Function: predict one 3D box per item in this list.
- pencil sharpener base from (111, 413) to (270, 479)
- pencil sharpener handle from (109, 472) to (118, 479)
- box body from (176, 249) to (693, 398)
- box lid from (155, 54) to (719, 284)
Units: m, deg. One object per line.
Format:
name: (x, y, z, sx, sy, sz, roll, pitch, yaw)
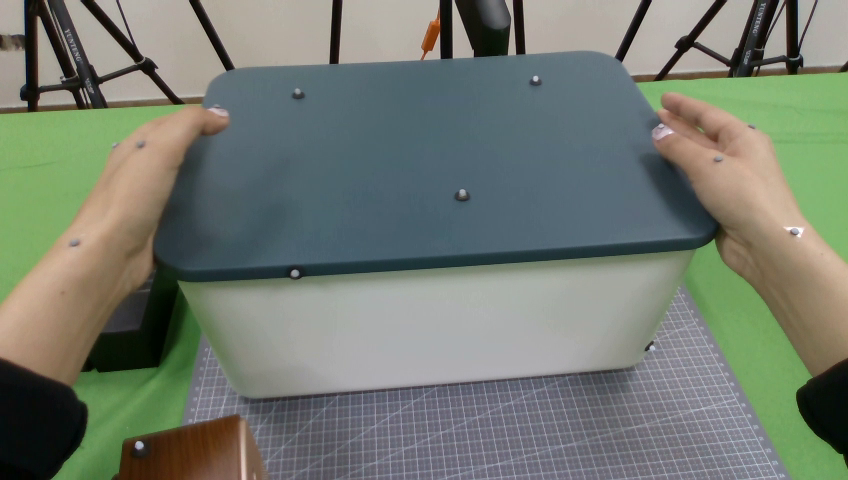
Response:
pencil sharpener base: (-0.137, 0.165, 0.371, 0.077, 0.108, 0.060, -10, 44, -10)
pencil sharpener handle: (-0.187, 0.164, 0.354, 0.031, 0.068, 0.035, -10, 46, -10)
box body: (0.004, -0.014, 0.529, 0.364, 0.162, 0.251, -4, 42, -4)
box lid: (0.003, -0.073, 0.468, 0.372, 0.015, 0.260, -4, 43, -4)
